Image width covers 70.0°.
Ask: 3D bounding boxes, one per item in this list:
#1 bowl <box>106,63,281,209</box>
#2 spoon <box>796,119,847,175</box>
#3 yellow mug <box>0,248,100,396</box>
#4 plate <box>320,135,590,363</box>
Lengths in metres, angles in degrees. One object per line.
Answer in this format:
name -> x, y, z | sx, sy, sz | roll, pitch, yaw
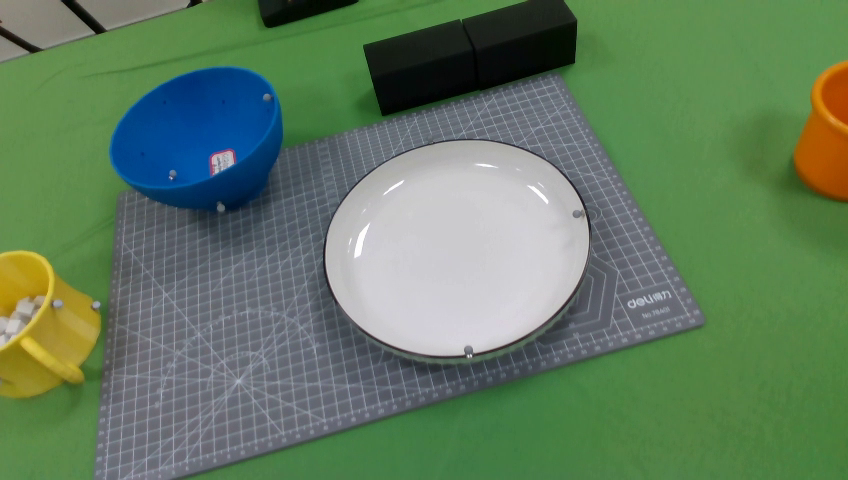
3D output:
bowl -> -0.194, -0.081, 0.551 | 0.151, 0.077, 0.150 | -5, 54, 7
spoon -> 0.364, -0.108, 0.430 | 0.022, 0.194, 0.041 | 16, 50, -34
yellow mug -> -0.312, 0.071, 0.475 | 0.130, 0.064, 0.099 | 28, 64, 25
plate -> 0.023, 0.004, 0.477 | 0.209, 0.038, 0.207 | -4, 55, 6
